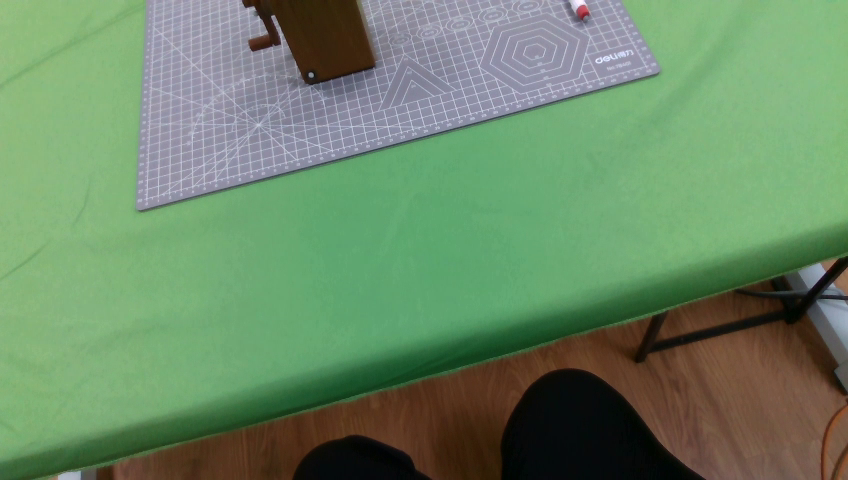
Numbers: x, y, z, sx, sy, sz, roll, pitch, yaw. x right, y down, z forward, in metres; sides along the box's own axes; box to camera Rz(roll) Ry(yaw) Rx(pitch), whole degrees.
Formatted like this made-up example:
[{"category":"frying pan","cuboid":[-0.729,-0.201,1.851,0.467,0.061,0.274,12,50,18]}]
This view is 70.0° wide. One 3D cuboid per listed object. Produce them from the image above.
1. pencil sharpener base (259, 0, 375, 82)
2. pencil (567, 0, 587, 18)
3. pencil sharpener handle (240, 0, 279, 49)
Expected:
[{"category":"pencil sharpener base","cuboid":[-0.093,-0.198,0.517,0.077,0.108,0.061,-17,59,0]},{"category":"pencil","cuboid":[0.114,-0.276,0.583,0.012,0.012,0.192,-18,58,-1]},{"category":"pencil sharpener handle","cuboid":[-0.144,-0.189,0.506,0.030,0.068,0.035,-17,59,0]}]
